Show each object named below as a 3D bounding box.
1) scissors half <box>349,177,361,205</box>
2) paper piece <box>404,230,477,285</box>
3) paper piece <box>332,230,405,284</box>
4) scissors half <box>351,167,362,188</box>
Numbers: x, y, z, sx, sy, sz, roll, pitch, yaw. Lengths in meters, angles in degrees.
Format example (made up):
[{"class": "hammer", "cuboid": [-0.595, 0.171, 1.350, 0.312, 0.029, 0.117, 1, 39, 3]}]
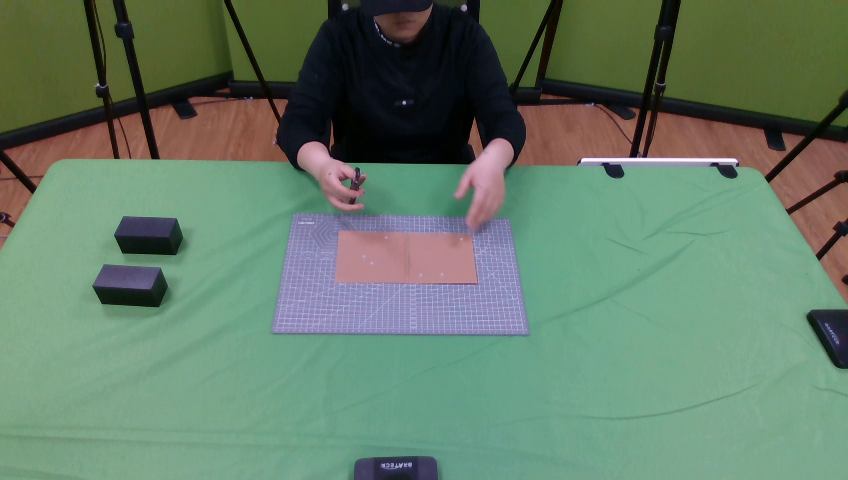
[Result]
[{"class": "scissors half", "cuboid": [-0.129, -0.097, 1.144, 0.013, 0.175, 0.040, 11, 79, -11]}, {"class": "paper piece", "cuboid": [0.030, 0.033, 1.174, 0.138, 0.009, 0.135, 2, 49, -4]}, {"class": "paper piece", "cuboid": [-0.104, 0.031, 1.165, 0.135, 0.004, 0.135, 2, 47, -4]}, {"class": "scissors half", "cuboid": [-0.126, -0.117, 1.145, 0.013, 0.040, 0.174, 5, 7, -11]}]
